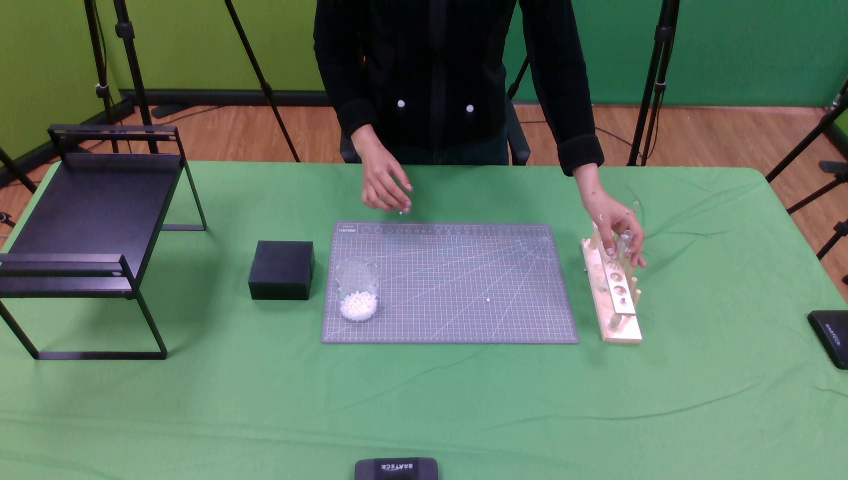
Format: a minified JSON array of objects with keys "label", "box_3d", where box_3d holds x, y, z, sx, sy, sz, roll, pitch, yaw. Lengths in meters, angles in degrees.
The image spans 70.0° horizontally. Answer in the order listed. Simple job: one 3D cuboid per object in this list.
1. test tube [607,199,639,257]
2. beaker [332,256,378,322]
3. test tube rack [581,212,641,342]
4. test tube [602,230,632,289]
[{"label":"test tube","box_3d":[0.374,-0.020,1.140,0.017,0.151,0.017,3,46,-3]},{"label":"beaker","box_3d":[-0.114,0.089,1.047,0.083,0.101,0.074,30,52,21]},{"label":"test tube rack","box_3d":[0.351,0.063,1.121,0.067,0.085,0.241,2,46,-1]},{"label":"test tube","box_3d":[0.341,0.038,1.074,0.017,0.151,0.017,2,47,-1]}]
